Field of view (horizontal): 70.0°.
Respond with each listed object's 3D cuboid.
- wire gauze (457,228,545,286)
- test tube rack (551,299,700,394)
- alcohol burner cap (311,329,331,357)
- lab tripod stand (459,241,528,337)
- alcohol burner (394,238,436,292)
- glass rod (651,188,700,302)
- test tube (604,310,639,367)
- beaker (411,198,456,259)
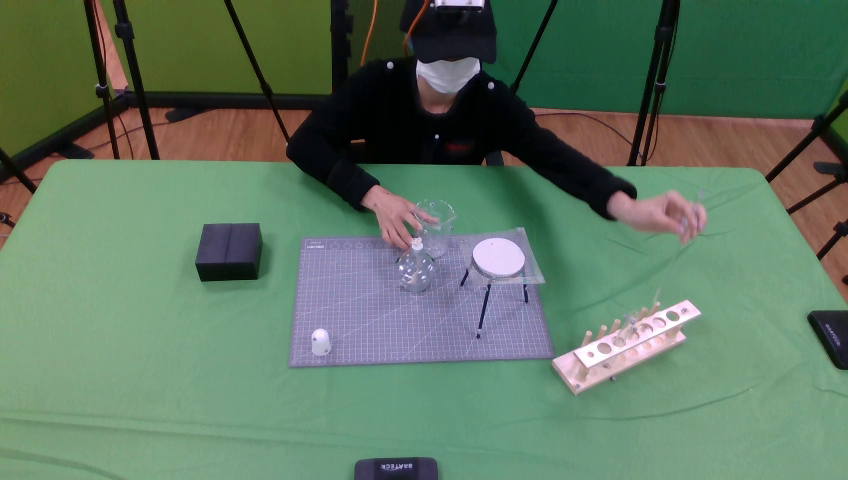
[{"bbox_3d":[0.126,0.029,1.006,0.125,0.011,0.120,-4,46,-10],"label":"wire gauze"},{"bbox_3d":[0.339,0.166,1.021,0.242,0.085,0.066,-19,50,-21],"label":"test tube rack"},{"bbox_3d":[-0.173,0.168,1.004,0.034,0.048,0.033,2,46,-2],"label":"alcohol burner cap"},{"bbox_3d":[0.122,0.075,1.054,0.148,0.132,0.147,3,44,-3],"label":"lab tripod stand"},{"bbox_3d":[-0.016,0.038,1.093,0.078,0.119,0.077,2,48,-2],"label":"alcohol burner"},{"bbox_3d":[0.391,0.011,0.946,0.008,0.200,0.008,10,25,-4],"label":"glass rod"},{"bbox_3d":[0.310,0.158,0.957,0.017,0.151,0.017,1,49,-1],"label":"test tube"},{"bbox_3d":[0.016,-0.019,1.161,0.084,0.101,0.073,7,46,1],"label":"beaker"}]
